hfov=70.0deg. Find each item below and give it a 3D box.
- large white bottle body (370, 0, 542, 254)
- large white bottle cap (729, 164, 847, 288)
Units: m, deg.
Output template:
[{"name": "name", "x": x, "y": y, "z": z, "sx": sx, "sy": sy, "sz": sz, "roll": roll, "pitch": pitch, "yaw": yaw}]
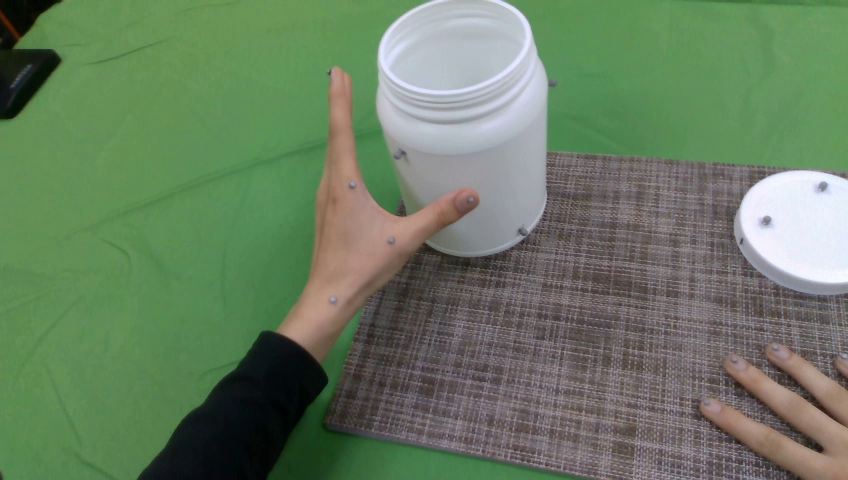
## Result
[{"name": "large white bottle body", "x": 0.030, "y": -0.089, "z": 0.495, "sx": 0.130, "sy": 0.186, "sz": 0.129, "roll": -5, "pitch": 55, "yaw": 8}, {"name": "large white bottle cap", "x": 0.312, "y": -0.014, "z": 0.493, "sx": 0.115, "sy": 0.018, "sz": 0.113, "roll": -5, "pitch": 56, "yaw": 7}]
